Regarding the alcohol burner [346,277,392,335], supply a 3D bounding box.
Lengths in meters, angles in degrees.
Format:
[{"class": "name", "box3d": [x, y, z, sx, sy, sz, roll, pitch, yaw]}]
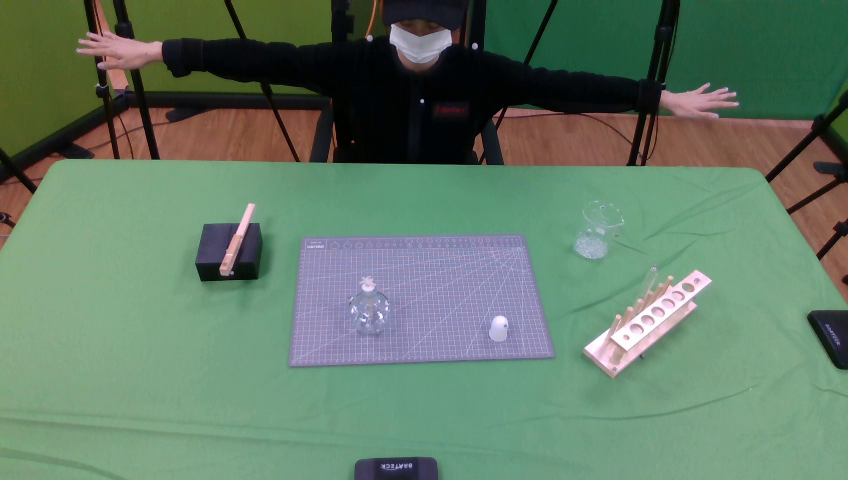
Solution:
[{"class": "alcohol burner", "box3d": [-0.093, 0.106, 1.021, 0.078, 0.120, 0.077, 1, 46, -1]}]

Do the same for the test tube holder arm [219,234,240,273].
[{"class": "test tube holder arm", "box3d": [-0.344, 0.023, 1.076, 0.015, 0.010, 0.087, 5, 45, 2]}]

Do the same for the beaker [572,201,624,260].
[{"class": "beaker", "box3d": [0.338, -0.015, 1.186, 0.084, 0.101, 0.074, 21, 49, 15]}]

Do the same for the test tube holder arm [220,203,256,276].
[{"class": "test tube holder arm", "box3d": [-0.340, -0.005, 1.112, 0.015, 0.013, 0.177, 5, 46, 2]}]

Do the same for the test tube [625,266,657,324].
[{"class": "test tube", "box3d": [0.367, 0.097, 1.027, 0.017, 0.151, 0.017, 1, 46, -1]}]

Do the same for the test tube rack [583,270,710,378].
[{"class": "test tube rack", "box3d": [0.389, 0.133, 1.057, 0.242, 0.085, 0.066, -29, 54, -28]}]

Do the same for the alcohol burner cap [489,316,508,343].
[{"class": "alcohol burner cap", "box3d": [0.130, 0.151, 1.045, 0.034, 0.048, 0.033, 2, 46, -2]}]
